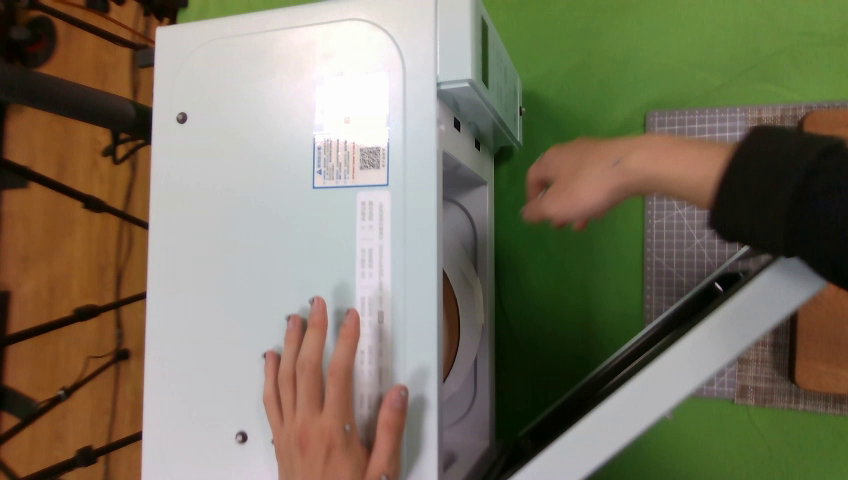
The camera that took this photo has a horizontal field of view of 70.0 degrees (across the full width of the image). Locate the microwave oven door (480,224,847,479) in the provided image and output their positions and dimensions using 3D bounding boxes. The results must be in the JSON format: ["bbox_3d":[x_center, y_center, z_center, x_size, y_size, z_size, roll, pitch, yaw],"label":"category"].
[{"bbox_3d":[0.178,0.121,0.520,0.356,0.245,0.039,-44,75,11],"label":"microwave oven door"}]

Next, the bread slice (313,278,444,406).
[{"bbox_3d":[-0.049,0.108,0.586,0.134,0.018,0.106,-24,83,28],"label":"bread slice"}]

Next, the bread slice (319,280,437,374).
[{"bbox_3d":[-0.052,0.097,0.675,0.131,0.019,0.105,2,98,4],"label":"bread slice"}]

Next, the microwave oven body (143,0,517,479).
[{"bbox_3d":[-0.080,0.029,0.612,0.325,0.261,0.441,-1,87,17],"label":"microwave oven body"}]

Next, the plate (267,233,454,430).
[{"bbox_3d":[-0.067,0.097,0.655,0.207,0.039,0.207,-1,87,13],"label":"plate"}]

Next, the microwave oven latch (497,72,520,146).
[{"bbox_3d":[0.091,-0.145,0.669,0.030,0.029,0.079,-1,87,17],"label":"microwave oven latch"}]

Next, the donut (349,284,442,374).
[{"bbox_3d":[-0.030,0.092,0.631,0.099,0.048,0.099,2,107,6],"label":"donut"}]
